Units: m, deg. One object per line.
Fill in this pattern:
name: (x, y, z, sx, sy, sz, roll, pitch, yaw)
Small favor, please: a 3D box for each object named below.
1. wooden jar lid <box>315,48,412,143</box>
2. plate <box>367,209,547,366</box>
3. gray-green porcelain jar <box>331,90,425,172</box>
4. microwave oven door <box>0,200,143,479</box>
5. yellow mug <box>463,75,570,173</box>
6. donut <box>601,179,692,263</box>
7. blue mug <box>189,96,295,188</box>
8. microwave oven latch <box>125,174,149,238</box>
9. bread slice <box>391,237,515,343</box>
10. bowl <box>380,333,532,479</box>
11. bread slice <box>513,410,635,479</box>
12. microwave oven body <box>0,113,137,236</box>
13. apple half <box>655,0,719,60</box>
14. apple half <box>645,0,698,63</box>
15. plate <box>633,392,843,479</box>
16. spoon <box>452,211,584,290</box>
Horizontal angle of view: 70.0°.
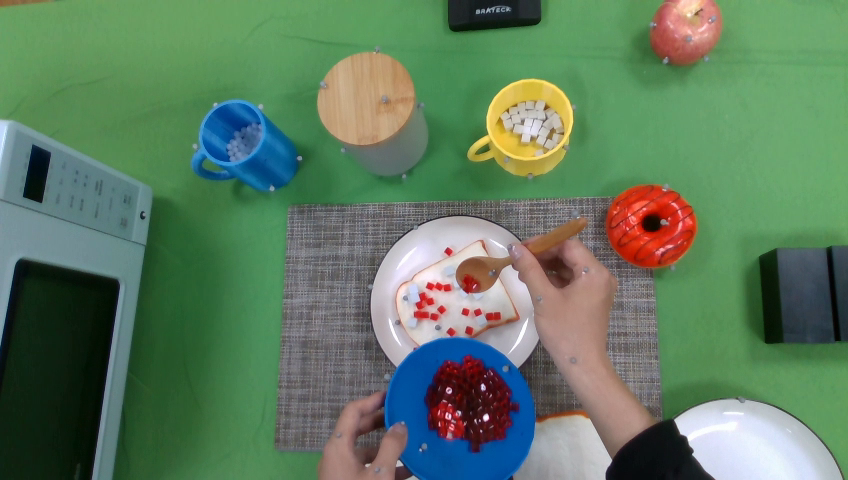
wooden jar lid: (-0.065, -0.155, 0.662, 0.108, 0.021, 0.108, -2, 78, 9)
plate: (0.038, 0.068, 0.713, 0.207, 0.039, 0.207, -1, 80, 8)
gray-green porcelain jar: (-0.056, -0.143, 0.723, 0.106, 0.127, 0.105, -1, 79, 8)
microwave oven door: (-0.408, 0.153, 0.642, 0.039, 0.245, 0.354, 2, 80, 9)
yellow mug: (0.108, -0.131, 0.727, 0.131, 0.064, 0.099, -25, 77, 4)
donut: (0.253, -0.022, 0.694, 0.099, 0.048, 0.098, -1, 81, 8)
blue mug: (-0.232, -0.111, 0.753, 0.116, 0.106, 0.082, -26, 77, 3)
microwave oven latch: (-0.376, -0.043, 0.777, 0.030, 0.029, 0.079, 4, 81, 9)
bread slice: (0.028, 0.069, 0.715, 0.131, 0.019, 0.104, -26, 77, 1)
bowl: (0.026, 0.178, 0.616, 0.152, 0.077, 0.150, 5, 61, -9)
bread slice: (0.158, 0.237, 0.641, 0.135, 0.018, 0.106, -5, 75, -13)
microwave oven body: (-0.548, 0.107, 0.676, 0.325, 0.261, 0.440, 2, 81, 8)
apple half: (0.315, -0.259, 0.716, 0.053, 0.075, 0.080, -32, 73, -4)
apple half: (0.283, -0.237, 0.715, 0.033, 0.081, 0.081, -33, 76, -4)
plate: (0.325, 0.265, 0.639, 0.209, 0.038, 0.208, -2, 79, 9)
spoon: (0.085, 0.013, 0.581, 0.021, 0.193, 0.041, -39, 94, -32)
